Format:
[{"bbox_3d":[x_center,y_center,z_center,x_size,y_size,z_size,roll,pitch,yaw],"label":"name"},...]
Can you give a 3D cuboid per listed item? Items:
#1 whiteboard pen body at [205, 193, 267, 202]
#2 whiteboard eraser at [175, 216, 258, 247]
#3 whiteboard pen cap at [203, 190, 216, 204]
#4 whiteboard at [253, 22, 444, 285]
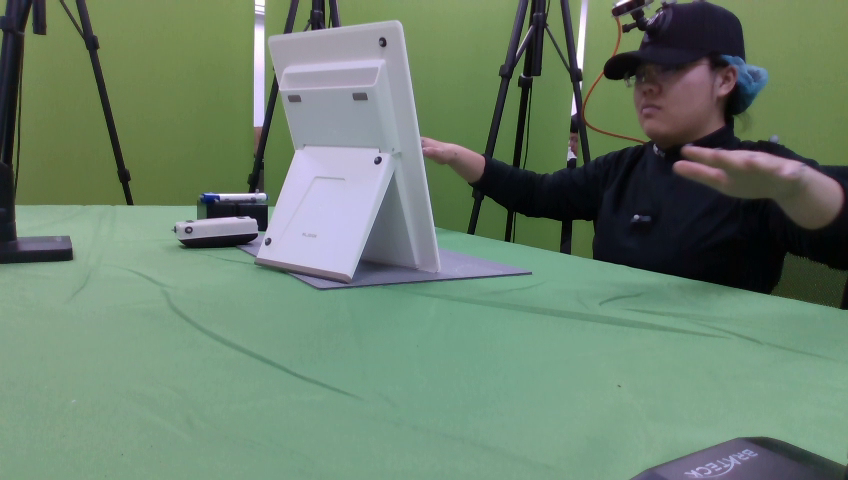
[{"bbox_3d":[-0.354,-0.081,1.147,0.017,0.017,0.141,8,9,33],"label":"whiteboard pen body"},{"bbox_3d":[-0.313,-0.013,0.915,0.113,0.042,0.055,-5,12,-30],"label":"whiteboard eraser"},{"bbox_3d":[-0.388,-0.077,1.093,0.018,0.018,0.033,2,25,-7],"label":"whiteboard pen cap"},{"bbox_3d":[-0.125,-0.081,0.715,0.216,0.305,0.144,9,29,36],"label":"whiteboard"}]
